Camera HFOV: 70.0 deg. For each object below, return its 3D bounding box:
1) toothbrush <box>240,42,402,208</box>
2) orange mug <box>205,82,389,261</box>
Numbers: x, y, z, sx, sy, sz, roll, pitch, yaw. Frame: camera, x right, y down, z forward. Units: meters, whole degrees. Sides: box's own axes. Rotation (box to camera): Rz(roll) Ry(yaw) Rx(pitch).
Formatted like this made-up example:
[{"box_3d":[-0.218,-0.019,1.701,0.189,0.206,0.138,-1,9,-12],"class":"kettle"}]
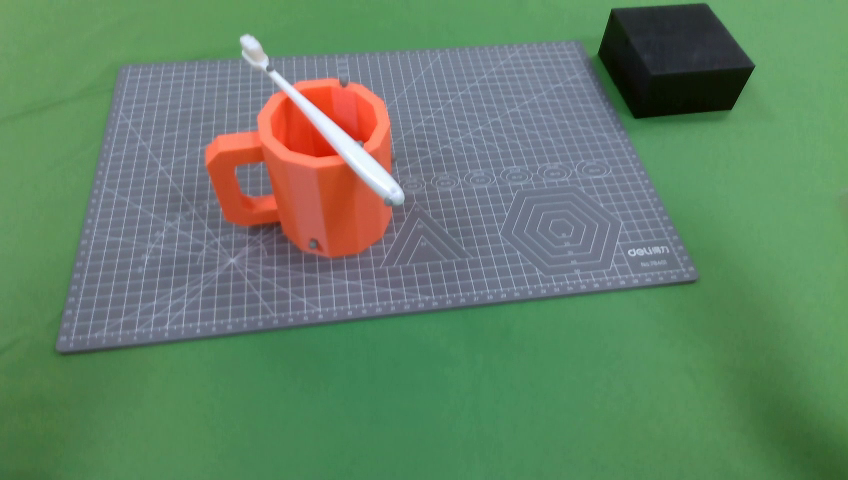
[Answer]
[{"box_3d":[-0.071,-0.079,0.392,0.014,0.017,0.180,-31,60,-25],"class":"toothbrush"},{"box_3d":[-0.086,-0.045,0.431,0.126,0.101,0.082,-7,53,-14],"class":"orange mug"}]
